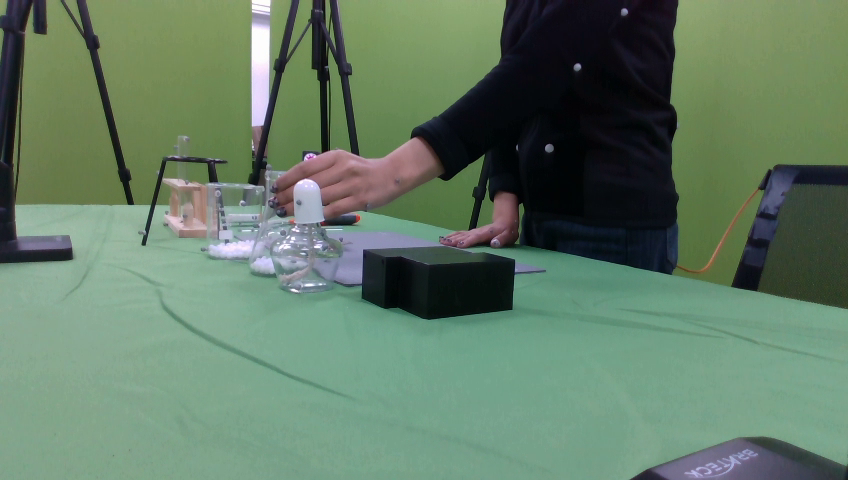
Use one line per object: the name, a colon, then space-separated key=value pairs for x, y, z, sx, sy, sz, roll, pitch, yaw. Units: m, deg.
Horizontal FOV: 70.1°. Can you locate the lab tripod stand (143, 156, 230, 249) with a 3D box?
lab tripod stand: x=-0.338 y=-0.058 z=0.908 sx=0.148 sy=0.131 sz=0.148 roll=4 pitch=7 yaw=0

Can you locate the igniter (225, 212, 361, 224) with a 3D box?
igniter: x=-0.262 y=-0.044 z=1.240 sx=0.278 sy=0.025 sz=0.057 roll=-2 pitch=-1 yaw=-31

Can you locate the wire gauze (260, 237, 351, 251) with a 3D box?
wire gauze: x=-0.185 y=0.004 z=0.938 sx=0.122 sy=0.011 sz=0.124 roll=-1 pitch=5 yaw=-24

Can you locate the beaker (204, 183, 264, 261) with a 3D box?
beaker: x=-0.254 y=-0.026 z=0.817 sx=0.073 sy=0.100 sz=0.084 roll=9 pitch=9 yaw=39

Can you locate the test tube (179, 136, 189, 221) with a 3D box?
test tube: x=-0.425 y=-0.108 z=1.070 sx=0.017 sy=0.150 sz=0.017 roll=4 pitch=9 yaw=0

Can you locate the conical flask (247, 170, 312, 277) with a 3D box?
conical flask: x=-0.170 y=-0.021 z=0.717 sx=0.075 sy=0.122 sz=0.075 roll=2 pitch=7 yaw=0

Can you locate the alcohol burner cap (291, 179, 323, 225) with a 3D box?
alcohol burner cap: x=-0.124 y=-0.040 z=0.632 sx=0.034 sy=0.048 sz=0.034 roll=-3 pitch=10 yaw=1

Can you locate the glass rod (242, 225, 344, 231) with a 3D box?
glass rod: x=-0.246 y=-0.023 z=1.155 sx=0.201 sy=0.008 sz=0.008 roll=-2 pitch=8 yaw=-32

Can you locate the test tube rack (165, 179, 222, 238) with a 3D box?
test tube rack: x=-0.423 y=-0.062 z=1.098 sx=0.067 sy=0.085 sz=0.241 roll=-2 pitch=9 yaw=-28

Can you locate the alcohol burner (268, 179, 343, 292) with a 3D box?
alcohol burner: x=-0.124 y=-0.005 z=0.637 sx=0.078 sy=0.119 sz=0.078 roll=4 pitch=8 yaw=0
